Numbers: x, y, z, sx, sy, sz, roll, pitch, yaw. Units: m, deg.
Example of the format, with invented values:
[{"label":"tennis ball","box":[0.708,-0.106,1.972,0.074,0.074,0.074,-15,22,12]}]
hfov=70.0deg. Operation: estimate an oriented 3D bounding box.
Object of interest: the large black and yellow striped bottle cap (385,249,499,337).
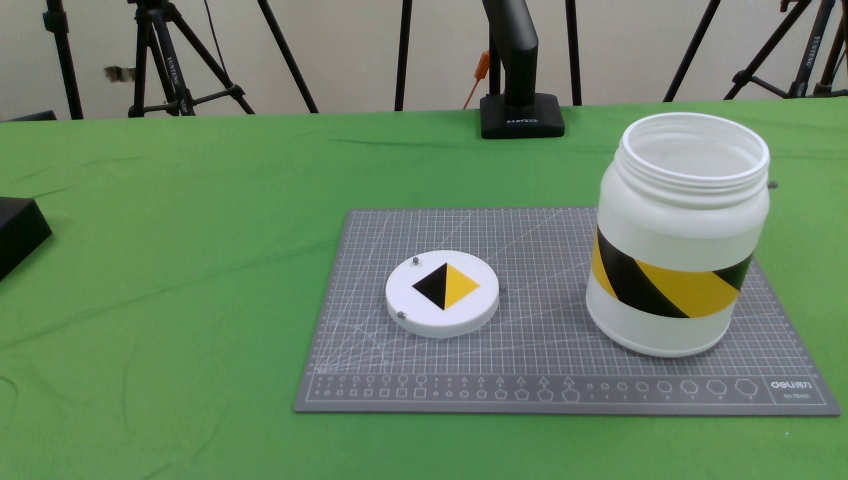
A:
[{"label":"large black and yellow striped bottle cap","box":[0.017,0.050,0.612,0.115,0.019,0.114,-1,39,1]}]

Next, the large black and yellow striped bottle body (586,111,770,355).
[{"label":"large black and yellow striped bottle body","box":[0.215,-0.005,0.528,0.131,0.185,0.129,-3,38,3]}]
